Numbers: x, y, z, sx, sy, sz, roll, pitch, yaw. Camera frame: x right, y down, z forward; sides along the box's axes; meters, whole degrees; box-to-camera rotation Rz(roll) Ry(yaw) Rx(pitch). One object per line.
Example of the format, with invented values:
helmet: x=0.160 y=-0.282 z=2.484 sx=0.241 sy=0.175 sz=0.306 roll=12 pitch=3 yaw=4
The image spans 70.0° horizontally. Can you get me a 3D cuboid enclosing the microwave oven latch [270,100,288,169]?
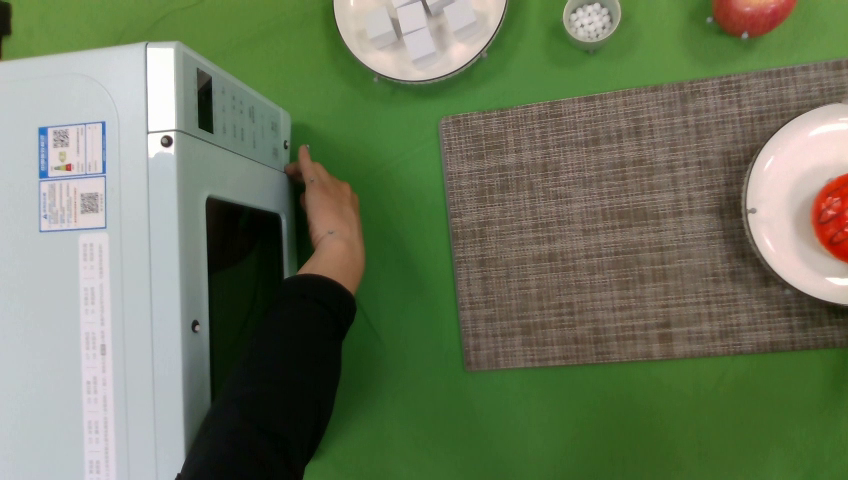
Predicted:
microwave oven latch: x=-0.178 y=-0.125 z=0.721 sx=0.030 sy=0.029 sz=0.079 roll=1 pitch=89 yaw=10

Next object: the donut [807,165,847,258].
donut: x=0.438 y=-0.029 z=0.607 sx=0.099 sy=0.048 sz=0.099 roll=0 pitch=89 yaw=12

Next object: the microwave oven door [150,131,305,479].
microwave oven door: x=-0.189 y=0.090 z=0.613 sx=0.039 sy=0.244 sz=0.355 roll=-4 pitch=87 yaw=10

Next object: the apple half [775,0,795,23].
apple half: x=0.366 y=-0.265 z=0.625 sx=0.033 sy=0.081 sz=0.081 roll=-15 pitch=85 yaw=14

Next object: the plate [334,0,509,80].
plate: x=-0.002 y=-0.288 z=0.713 sx=0.207 sy=0.039 sz=0.207 roll=0 pitch=88 yaw=11

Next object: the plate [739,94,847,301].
plate: x=0.431 y=-0.042 z=0.620 sx=0.209 sy=0.038 sz=0.209 roll=0 pitch=88 yaw=11

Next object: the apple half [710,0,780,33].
apple half: x=0.329 y=-0.254 z=0.633 sx=0.053 sy=0.075 sz=0.080 roll=-15 pitch=89 yaw=14

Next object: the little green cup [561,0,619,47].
little green cup: x=0.184 y=-0.248 z=0.677 sx=0.061 sy=0.039 sz=0.061 roll=0 pitch=88 yaw=11

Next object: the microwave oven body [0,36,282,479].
microwave oven body: x=-0.333 y=0.056 z=0.646 sx=0.325 sy=0.261 sz=0.441 roll=-3 pitch=88 yaw=10
